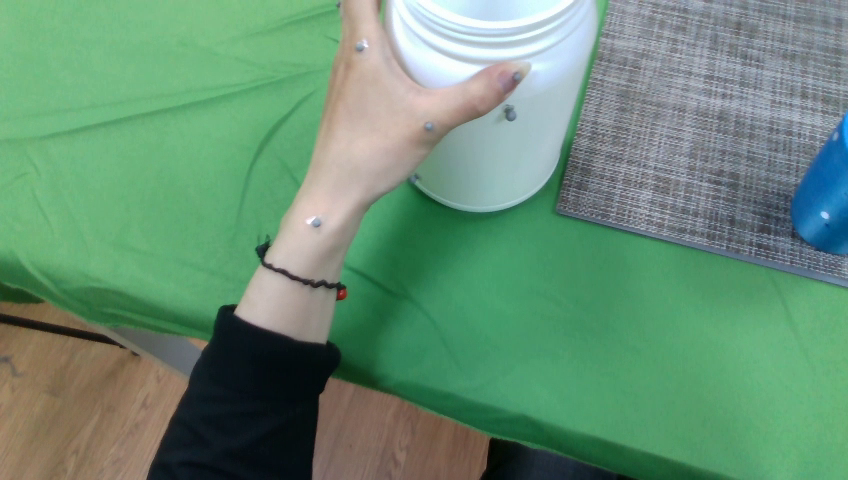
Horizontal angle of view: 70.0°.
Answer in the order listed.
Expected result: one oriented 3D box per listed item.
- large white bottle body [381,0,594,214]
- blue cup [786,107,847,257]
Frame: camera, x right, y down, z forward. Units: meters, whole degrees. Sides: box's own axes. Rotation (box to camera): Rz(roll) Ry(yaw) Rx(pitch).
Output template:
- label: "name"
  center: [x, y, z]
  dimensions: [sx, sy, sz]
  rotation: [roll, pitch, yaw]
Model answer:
- label: "large white bottle body"
  center: [0.040, -0.114, 0.412]
  dimensions: [0.130, 0.186, 0.129]
  rotation: [0, 64, 1]
- label: "blue cup"
  center: [0.299, -0.035, 0.409]
  dimensions: [0.092, 0.101, 0.092]
  rotation: [-1, 63, 3]
